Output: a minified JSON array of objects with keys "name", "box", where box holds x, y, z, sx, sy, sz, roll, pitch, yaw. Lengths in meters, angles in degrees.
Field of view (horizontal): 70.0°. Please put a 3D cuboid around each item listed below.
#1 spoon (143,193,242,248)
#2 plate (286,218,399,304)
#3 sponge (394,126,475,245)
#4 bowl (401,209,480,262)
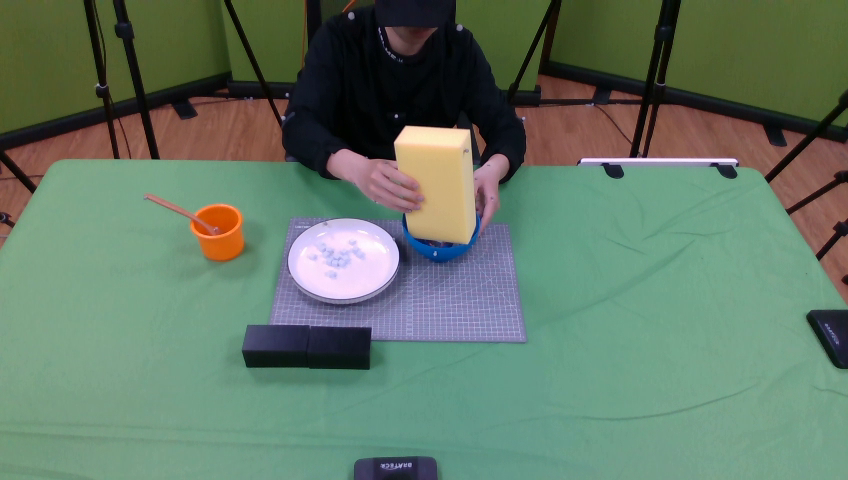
[{"name":"spoon","box":[-0.421,-0.037,1.113,0.021,0.195,0.041,-37,37,23]},{"name":"plate","box":[-0.150,0.042,1.131,0.209,0.038,0.208,2,45,-2]},{"name":"sponge","box":[0.023,-0.094,1.074,0.118,0.208,0.060,8,41,18]},{"name":"bowl","box":[0.029,-0.011,1.168,0.151,0.077,0.150,2,46,-2]}]
